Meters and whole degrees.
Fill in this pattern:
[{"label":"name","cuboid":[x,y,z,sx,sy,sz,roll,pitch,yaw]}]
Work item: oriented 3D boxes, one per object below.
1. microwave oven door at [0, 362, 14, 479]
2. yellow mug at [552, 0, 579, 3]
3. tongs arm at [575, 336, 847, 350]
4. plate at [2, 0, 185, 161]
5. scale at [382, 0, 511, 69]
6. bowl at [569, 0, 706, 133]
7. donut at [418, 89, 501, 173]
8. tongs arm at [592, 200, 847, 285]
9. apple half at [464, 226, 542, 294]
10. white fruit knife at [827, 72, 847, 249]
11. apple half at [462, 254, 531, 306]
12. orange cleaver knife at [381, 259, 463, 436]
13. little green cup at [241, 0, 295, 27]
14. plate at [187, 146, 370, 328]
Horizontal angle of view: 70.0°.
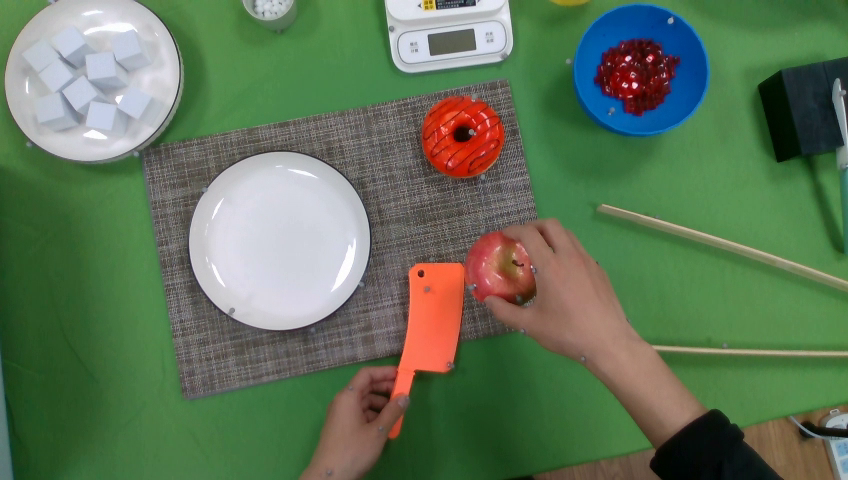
[{"label":"microwave oven door","cuboid":[-0.498,0.139,0.573,0.039,0.244,0.355,-9,85,-1]},{"label":"yellow mug","cuboid":[0.164,-0.356,0.721,0.100,0.064,0.130,-44,86,-3]},{"label":"tongs arm","cuboid":[0.370,0.104,0.700,0.385,0.026,0.050,4,81,0]},{"label":"plate","cuboid":[-0.385,-0.193,0.720,0.208,0.039,0.207,0,85,0]},{"label":"scale","cuboid":[0.022,-0.314,0.734,0.149,0.031,0.200,-7,86,0]},{"label":"bowl","cuboid":[0.235,-0.189,0.703,0.151,0.077,0.151,0,86,0]},{"label":"donut","cuboid":[0.041,-0.127,0.710,0.099,0.048,0.099,0,86,2]},{"label":"tongs arm","cuboid":[0.384,0.019,0.711,0.387,0.028,0.028,18,78,2]},{"label":"apple half","cuboid":[0.086,0.016,0.620,0.081,0.075,0.053,31,76,2]},{"label":"white fruit knife","cuboid":[0.479,-0.088,0.695,0.016,0.027,0.208,-14,100,-1]},{"label":"apple half","cuboid":[0.066,0.048,0.612,0.081,0.081,0.032,31,77,3]},{"label":"orange cleaver knife","cuboid":[0.000,0.119,0.695,0.077,0.012,0.210,14,81,-16]},{"label":"little green cup","cuboid":[-0.185,-0.288,0.728,0.061,0.039,0.061,0,85,0]},{"label":"plate","cuboid":[-0.165,-0.003,0.702,0.209,0.038,0.208,0,86,0]}]
